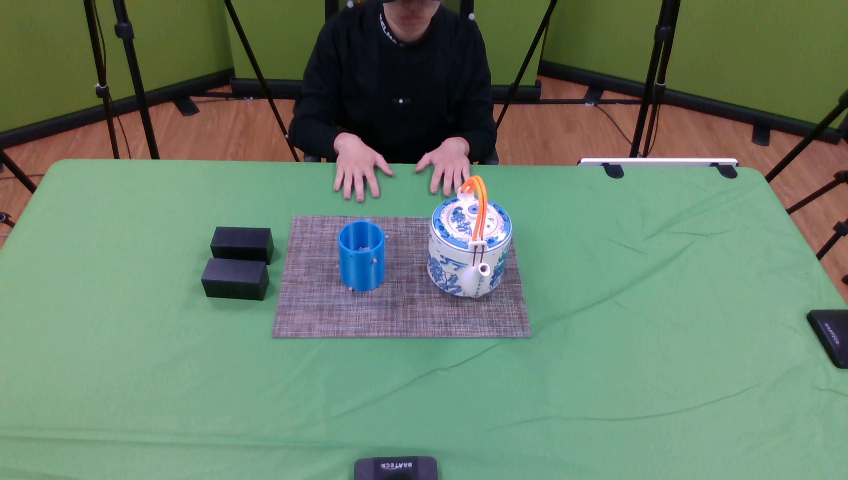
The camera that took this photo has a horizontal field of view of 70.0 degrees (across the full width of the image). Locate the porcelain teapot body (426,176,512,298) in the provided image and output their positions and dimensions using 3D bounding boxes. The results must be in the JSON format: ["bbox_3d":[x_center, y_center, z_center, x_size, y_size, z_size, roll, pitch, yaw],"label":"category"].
[{"bbox_3d":[0.085,0.009,1.051,0.145,0.226,0.204,-5,47,-9],"label":"porcelain teapot body"}]

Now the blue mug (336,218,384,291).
[{"bbox_3d":[-0.115,0.018,1.110,0.082,0.106,0.116,1,46,-4],"label":"blue mug"}]

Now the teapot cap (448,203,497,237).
[{"bbox_3d":[0.084,-0.038,1.041,0.085,0.044,0.084,0,48,0],"label":"teapot cap"}]
